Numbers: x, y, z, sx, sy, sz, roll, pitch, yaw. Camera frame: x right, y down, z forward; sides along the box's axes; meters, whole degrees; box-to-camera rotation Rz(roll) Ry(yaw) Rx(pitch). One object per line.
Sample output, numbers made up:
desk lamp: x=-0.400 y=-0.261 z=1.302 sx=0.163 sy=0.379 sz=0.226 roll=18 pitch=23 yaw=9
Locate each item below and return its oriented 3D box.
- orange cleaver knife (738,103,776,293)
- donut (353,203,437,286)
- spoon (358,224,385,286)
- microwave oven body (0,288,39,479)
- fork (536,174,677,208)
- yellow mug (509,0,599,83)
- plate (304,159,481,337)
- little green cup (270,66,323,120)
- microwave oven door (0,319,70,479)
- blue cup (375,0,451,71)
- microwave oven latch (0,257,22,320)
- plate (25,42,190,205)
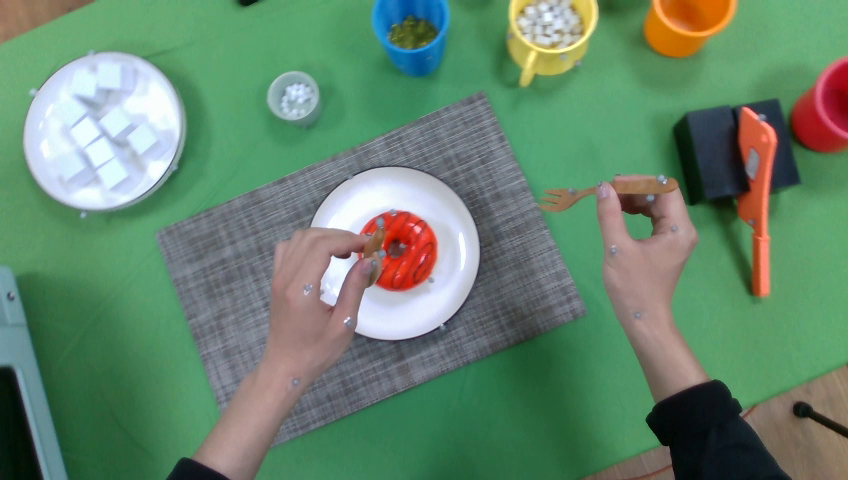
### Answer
orange cleaver knife: x=0.368 y=-0.044 z=0.677 sx=0.012 sy=0.076 sz=0.213 roll=-8 pitch=112 yaw=6
donut: x=-0.033 y=0.005 z=0.707 sx=0.099 sy=0.048 sz=0.099 roll=0 pitch=85 yaw=5
spoon: x=-0.047 y=0.011 z=0.517 sx=0.021 sy=0.194 sz=0.041 roll=11 pitch=79 yaw=-3
microwave oven body: x=-0.602 y=0.263 z=0.617 sx=0.326 sy=0.261 sz=0.440 roll=-20 pitch=83 yaw=1
fork: x=0.157 y=-0.047 z=0.555 sx=0.019 sy=0.206 sz=0.028 roll=32 pitch=82 yaw=-13
yellow mug: x=0.147 y=-0.249 z=0.724 sx=0.100 sy=0.064 sz=0.130 roll=25 pitch=87 yaw=6
plate: x=-0.037 y=0.009 z=0.718 sx=0.209 sy=0.038 sz=0.208 roll=0 pitch=83 yaw=4
little green cup: x=-0.155 y=-0.179 z=0.752 sx=0.061 sy=0.039 sz=0.061 roll=-1 pitch=83 yaw=5
microwave oven door: x=-0.450 y=0.252 z=0.602 sx=0.039 sy=0.244 sz=0.354 roll=-20 pitch=82 yaw=2
blue cup: x=-0.009 y=-0.248 z=0.718 sx=0.092 sy=0.100 sz=0.092 roll=0 pitch=84 yaw=3
microwave oven latch: x=-0.515 y=0.060 z=0.731 sx=0.030 sy=0.029 sz=0.079 roll=-18 pitch=83 yaw=1
plate: x=-0.393 y=-0.144 z=0.765 sx=0.207 sy=0.039 sz=0.207 roll=0 pitch=83 yaw=4
